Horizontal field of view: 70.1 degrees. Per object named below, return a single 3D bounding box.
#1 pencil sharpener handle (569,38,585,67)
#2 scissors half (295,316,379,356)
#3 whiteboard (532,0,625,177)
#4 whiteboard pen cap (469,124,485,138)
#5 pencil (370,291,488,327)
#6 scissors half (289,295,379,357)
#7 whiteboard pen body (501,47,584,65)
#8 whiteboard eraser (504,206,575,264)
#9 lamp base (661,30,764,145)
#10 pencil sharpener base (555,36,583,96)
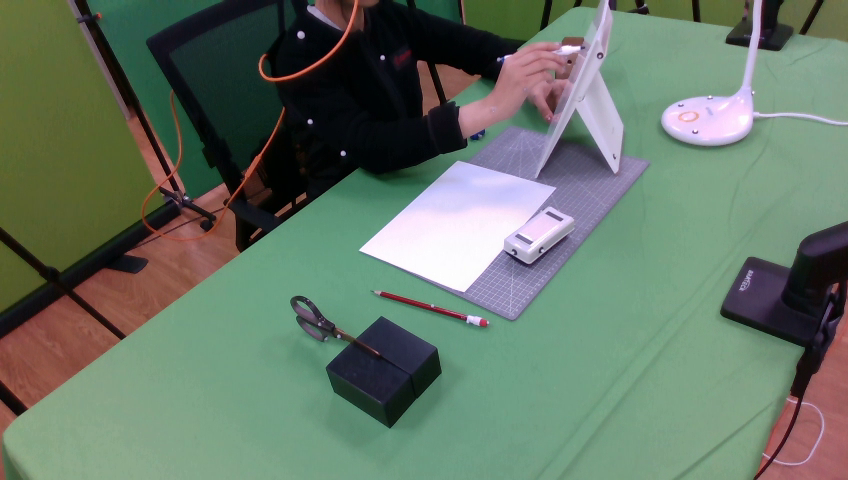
[{"bbox_3d":[0.333,-0.413,1.318,0.036,0.068,0.030,19,47,13],"label":"pencil sharpener handle"},{"bbox_3d":[-0.119,0.131,0.813,0.173,0.040,0.013,9,34,45],"label":"scissors half"},{"bbox_3d":[0.320,-0.258,1.050,0.144,0.306,0.217,21,45,4],"label":"whiteboard"},{"bbox_3d":[0.107,-0.220,1.224,0.033,0.018,0.018,-38,48,-24],"label":"whiteboard pen cap"},{"bbox_3d":[0.003,0.097,0.877,0.193,0.012,0.012,13,45,26],"label":"pencil"},{"bbox_3d":[-0.122,0.114,0.803,0.174,0.040,0.013,26,50,32],"label":"scissors half"},{"bbox_3d":[0.201,-0.316,1.031,0.140,0.017,0.017,-4,40,15],"label":"whiteboard pen body"},{"bbox_3d":[0.179,-0.006,0.936,0.113,0.042,0.055,-35,46,-27],"label":"whiteboard eraser"},{"bbox_3d":[0.535,-0.287,1.096,0.179,0.181,0.159,-10,40,-4],"label":"lamp base"},{"bbox_3d":[0.318,-0.371,1.290,0.061,0.107,0.076,10,44,22],"label":"pencil sharpener base"}]
